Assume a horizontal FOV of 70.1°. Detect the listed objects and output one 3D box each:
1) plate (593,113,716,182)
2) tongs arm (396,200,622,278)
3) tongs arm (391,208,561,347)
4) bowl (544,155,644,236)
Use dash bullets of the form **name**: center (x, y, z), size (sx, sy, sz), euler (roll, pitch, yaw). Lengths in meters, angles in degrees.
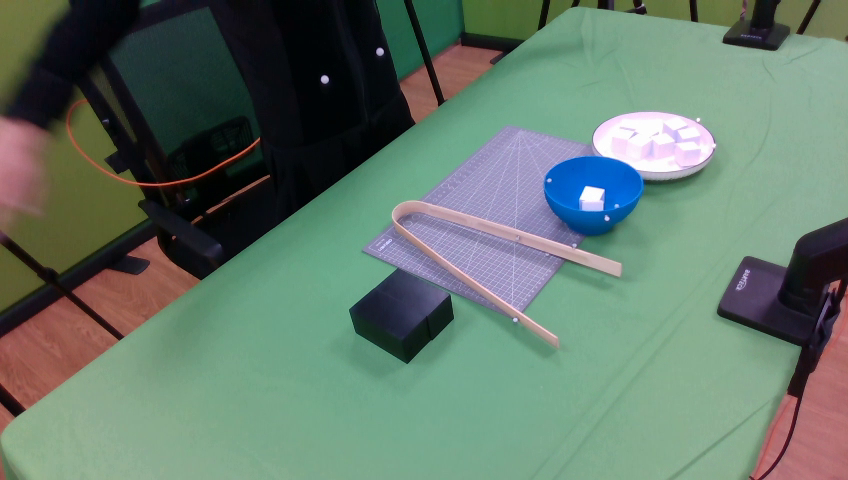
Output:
- **plate**: center (0.408, -0.163, 1.084), size (0.207, 0.039, 0.206), euler (-4, 39, 4)
- **tongs arm**: center (0.117, -0.002, 0.947), size (0.381, 0.026, 0.051), euler (22, 53, 32)
- **tongs arm**: center (0.060, 0.046, 0.906), size (0.028, 0.028, 0.384), euler (-37, 47, -19)
- **bowl**: center (0.266, -0.061, 0.957), size (0.151, 0.077, 0.150), euler (-5, 40, 5)
